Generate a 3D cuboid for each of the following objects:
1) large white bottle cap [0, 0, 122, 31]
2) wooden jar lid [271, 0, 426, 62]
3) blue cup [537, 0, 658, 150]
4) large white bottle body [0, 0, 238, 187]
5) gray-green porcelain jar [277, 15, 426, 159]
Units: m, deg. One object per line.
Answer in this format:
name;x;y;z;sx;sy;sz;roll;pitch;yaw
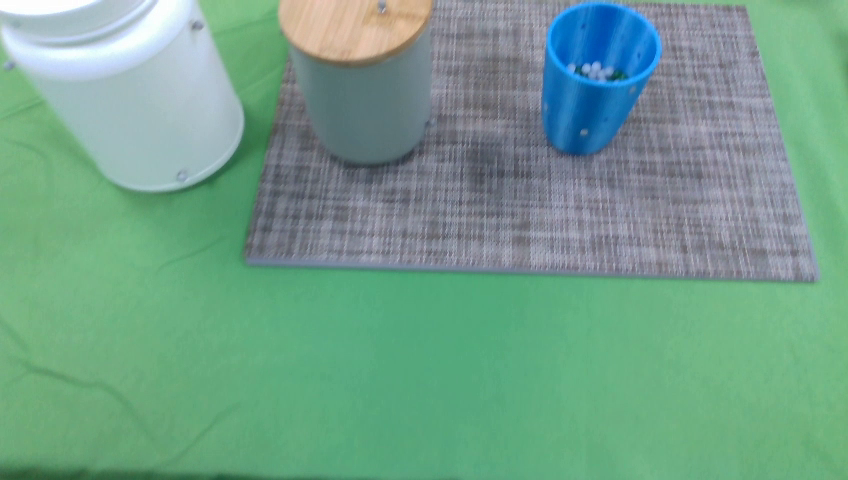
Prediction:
large white bottle cap;-0.233;-0.179;0.383;0.115;0.018;0.114;0;63;1
wooden jar lid;-0.052;-0.164;0.427;0.108;0.021;0.107;-2;63;3
blue cup;0.130;-0.126;0.489;0.092;0.101;0.092;0;63;1
large white bottle body;-0.231;-0.140;0.458;0.130;0.186;0.129;0;62;1
gray-green porcelain jar;-0.051;-0.135;0.482;0.106;0.127;0.105;0;63;1
